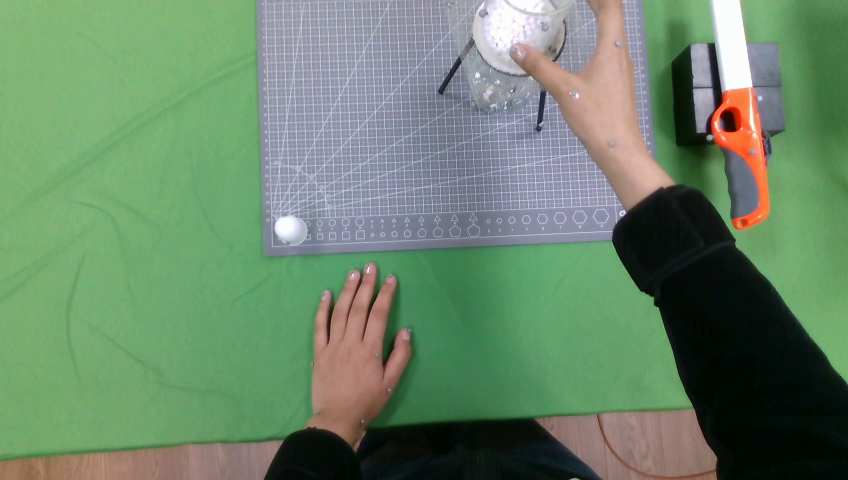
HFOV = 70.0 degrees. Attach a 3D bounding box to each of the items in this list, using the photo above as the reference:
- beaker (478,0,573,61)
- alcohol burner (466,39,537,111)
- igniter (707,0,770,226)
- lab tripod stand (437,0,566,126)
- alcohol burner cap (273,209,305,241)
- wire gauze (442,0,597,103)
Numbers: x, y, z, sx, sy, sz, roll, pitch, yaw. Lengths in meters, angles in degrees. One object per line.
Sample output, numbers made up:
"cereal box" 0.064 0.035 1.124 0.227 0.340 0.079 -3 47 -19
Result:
"beaker" 0.084 -0.206 0.522 0.084 0.100 0.074 -4 83 -2
"alcohol burner" 0.085 -0.181 0.644 0.078 0.119 0.078 0 86 -1
"igniter" 0.333 -0.152 0.651 0.057 0.025 0.276 -5 84 8
"lab tripod stand" 0.088 -0.197 0.635 0.148 0.132 0.148 0 83 -1
"alcohol burner cap" -0.148 -0.018 0.656 0.034 0.048 0.034 0 85 -2
"wire gauze" 0.089 -0.198 0.569 0.125 0.011 0.121 -16 86 -6
